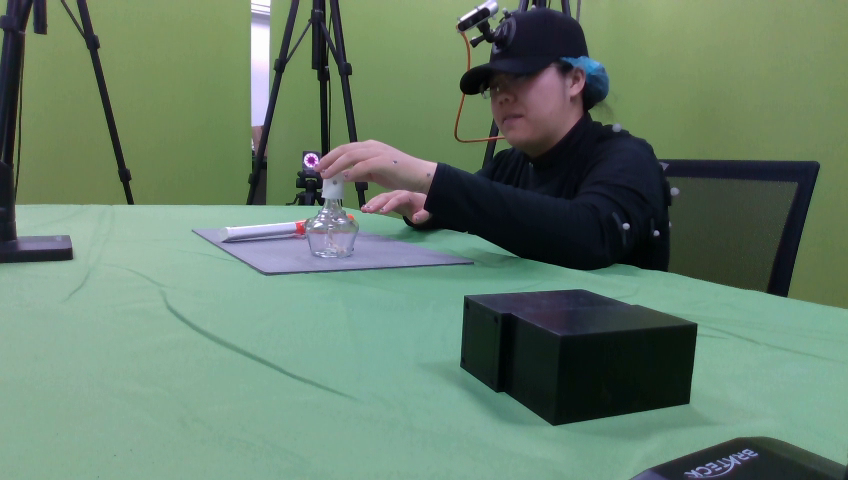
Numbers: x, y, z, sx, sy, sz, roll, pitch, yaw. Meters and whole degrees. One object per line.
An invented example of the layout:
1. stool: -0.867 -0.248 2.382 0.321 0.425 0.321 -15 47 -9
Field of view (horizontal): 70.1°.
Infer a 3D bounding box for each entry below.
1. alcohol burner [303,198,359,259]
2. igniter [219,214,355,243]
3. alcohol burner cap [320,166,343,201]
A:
1. alcohol burner: -0.130 -0.034 0.850 0.078 0.119 0.078 2 5 0
2. igniter: -0.220 -0.021 1.033 0.057 0.025 0.278 -21 -7 39
3. alcohol burner cap: -0.128 -0.080 0.844 0.034 0.048 0.034 4 5 0
